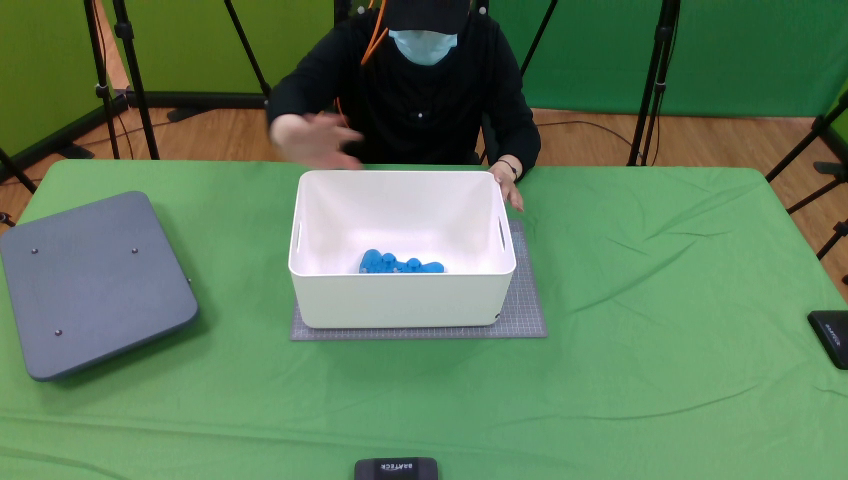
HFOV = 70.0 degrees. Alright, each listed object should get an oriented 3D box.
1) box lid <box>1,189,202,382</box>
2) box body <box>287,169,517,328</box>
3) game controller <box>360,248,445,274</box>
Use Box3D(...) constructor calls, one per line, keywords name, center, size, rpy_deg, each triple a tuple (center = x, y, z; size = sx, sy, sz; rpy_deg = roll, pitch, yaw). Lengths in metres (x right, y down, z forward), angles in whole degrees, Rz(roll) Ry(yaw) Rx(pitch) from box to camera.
Box3D(name="box lid", center=(-0.565, 0.058, 1.050), size=(0.263, 0.015, 0.369), rpy_deg=(-23, 52, -23))
Box3D(name="box body", center=(-0.040, 0.015, 1.075), size=(0.364, 0.161, 0.252), rpy_deg=(-1, 47, -4))
Box3D(name="game controller", center=(-0.043, 0.056, 1.107), size=(0.155, 0.052, 0.096), rpy_deg=(12, 52, 8))
